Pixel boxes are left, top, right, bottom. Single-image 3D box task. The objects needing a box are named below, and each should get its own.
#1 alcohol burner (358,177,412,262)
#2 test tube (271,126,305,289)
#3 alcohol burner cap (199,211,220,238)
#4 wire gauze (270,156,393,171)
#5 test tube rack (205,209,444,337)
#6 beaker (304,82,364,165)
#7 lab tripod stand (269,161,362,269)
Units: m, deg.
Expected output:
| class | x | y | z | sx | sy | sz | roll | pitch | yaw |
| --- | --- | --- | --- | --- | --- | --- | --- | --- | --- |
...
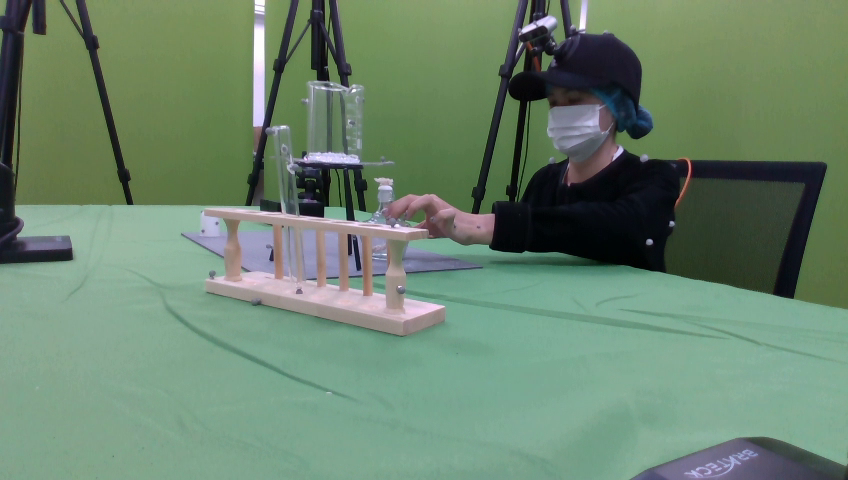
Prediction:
| class | x | y | z | sx | sy | sz | roll | pitch | yaw |
| --- | --- | --- | --- | --- | --- | --- | --- | --- | --- |
| alcohol burner | -0.055 | -0.029 | 0.849 | 0.078 | 0.119 | 0.078 | 1 | 8 | 0 |
| test tube | -0.124 | -0.028 | 0.554 | 0.017 | 0.150 | 0.017 | -5 | 7 | 1 |
| alcohol burner cap | -0.356 | -0.027 | 1.002 | 0.034 | 0.048 | 0.034 | 2 | 7 | 0 |
| wire gauze | -0.122 | -0.100 | 0.786 | 0.122 | 0.011 | 0.124 | -5 | 14 | -38 |
| test tube rack | -0.100 | 0.021 | 0.565 | 0.241 | 0.085 | 0.067 | 7 | 9 | 32 |
| beaker | -0.115 | -0.148 | 0.779 | 0.074 | 0.100 | 0.083 | -2 | 10 | -30 |
| lab tripod stand | -0.125 | -0.036 | 0.794 | 0.148 | 0.131 | 0.148 | 5 | 7 | 0 |
